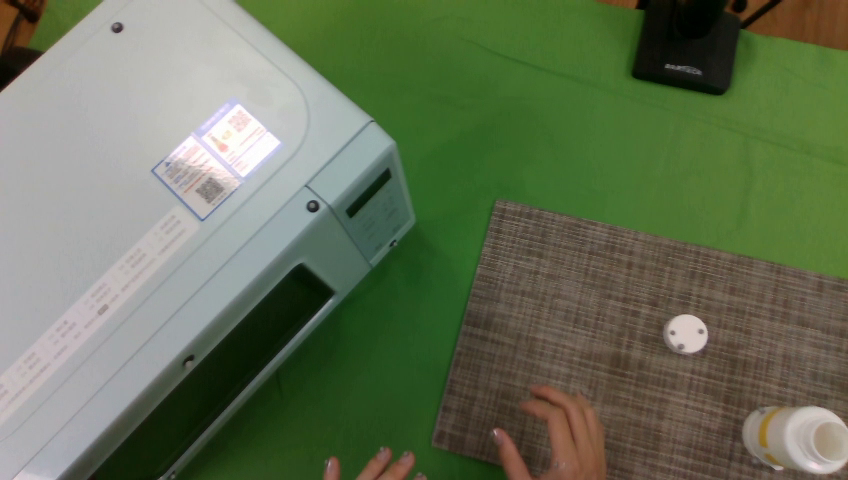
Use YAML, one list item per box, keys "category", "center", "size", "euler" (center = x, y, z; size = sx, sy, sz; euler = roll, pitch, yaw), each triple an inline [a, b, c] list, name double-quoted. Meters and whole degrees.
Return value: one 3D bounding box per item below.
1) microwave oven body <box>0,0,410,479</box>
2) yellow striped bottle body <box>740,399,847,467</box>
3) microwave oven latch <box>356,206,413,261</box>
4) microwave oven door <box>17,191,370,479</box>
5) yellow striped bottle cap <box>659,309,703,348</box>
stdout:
- category: "microwave oven body"
  center: [-0.282, -0.003, 0.623]
  size: [0.324, 0.261, 0.441]
  euler: [41, 82, 11]
- category: "yellow striped bottle body"
  center: [0.373, 0.192, 0.606]
  size: [0.063, 0.121, 0.062]
  euler: [-1, 75, 4]
- category: "microwave oven latch"
  center: [-0.047, -0.013, 0.711]
  size: [0.030, 0.029, 0.079]
  euler: [43, 83, 12]
- category: "microwave oven door"
  center: [-0.203, 0.120, 0.583]
  size: [0.039, 0.245, 0.355]
  euler: [41, 82, 13]
- category: "yellow striped bottle cap"
  center: [0.293, 0.100, 0.688]
  size: [0.044, 0.019, 0.044]
  euler: [-1, 76, 5]
